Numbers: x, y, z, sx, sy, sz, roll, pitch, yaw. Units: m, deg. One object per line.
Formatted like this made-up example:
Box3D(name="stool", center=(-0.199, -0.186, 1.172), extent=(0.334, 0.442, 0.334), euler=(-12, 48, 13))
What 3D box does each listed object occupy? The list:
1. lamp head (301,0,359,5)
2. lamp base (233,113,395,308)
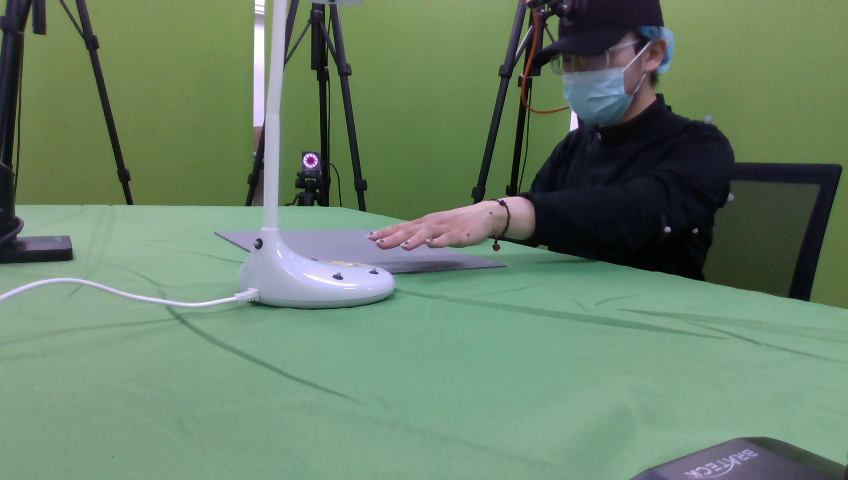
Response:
Box3D(name="lamp head", center=(-0.095, -0.314, 0.610), extent=(0.112, 0.123, 0.112), euler=(-4, 50, 5))
Box3D(name="lamp base", center=(-0.113, -0.033, 0.600), extent=(0.160, 0.180, 0.180), euler=(6, 11, 28))
